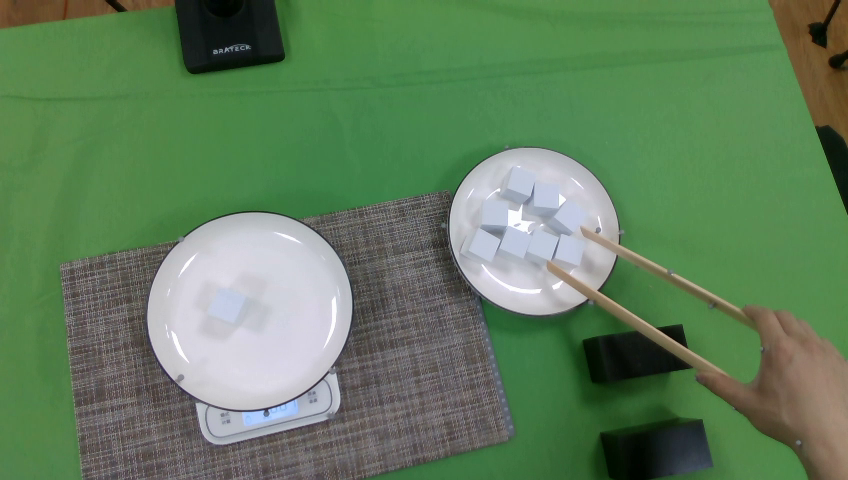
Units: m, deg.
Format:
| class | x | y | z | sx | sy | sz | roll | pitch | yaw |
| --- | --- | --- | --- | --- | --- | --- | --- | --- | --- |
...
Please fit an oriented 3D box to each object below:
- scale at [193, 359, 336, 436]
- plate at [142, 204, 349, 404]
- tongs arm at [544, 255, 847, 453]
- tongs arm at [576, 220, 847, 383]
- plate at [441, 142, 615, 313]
| class | x | y | z | sx | sy | sz | roll | pitch | yaw |
| --- | --- | --- | --- | --- | --- | --- | --- | --- | --- |
| scale | -0.185 | 0.102 | 0.664 | 0.149 | 0.031 | 0.200 | -11 | 79 | -9 |
| plate | -0.183 | 0.066 | 0.639 | 0.209 | 0.038 | 0.208 | 2 | 77 | -6 |
| tongs arm | 0.275 | 0.109 | 0.600 | 0.383 | 0.028 | 0.028 | 33 | 69 | 34 |
| tongs arm | 0.300 | 0.083 | 0.608 | 0.381 | 0.027 | 0.050 | 33 | 73 | 34 |
| plate | 0.122 | -0.014 | 0.725 | 0.208 | 0.039 | 0.206 | 2 | 77 | -6 |
